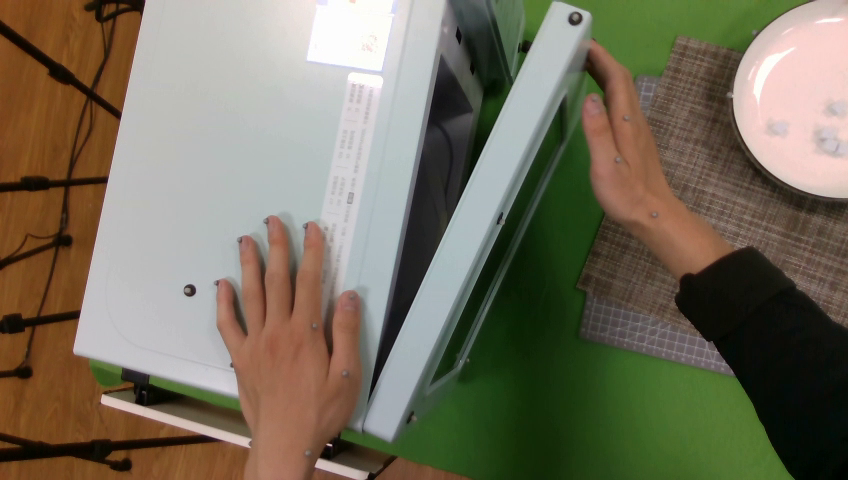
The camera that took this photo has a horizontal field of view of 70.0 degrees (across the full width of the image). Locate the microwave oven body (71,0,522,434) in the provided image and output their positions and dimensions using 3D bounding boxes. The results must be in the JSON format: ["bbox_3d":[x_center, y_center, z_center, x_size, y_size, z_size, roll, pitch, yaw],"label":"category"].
[{"bbox_3d":[-0.107,-0.080,0.614,0.325,0.261,0.441,11,89,13],"label":"microwave oven body"}]

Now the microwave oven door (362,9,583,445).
[{"bbox_3d":[0.058,0.000,0.567,0.039,0.245,0.355,25,92,14],"label":"microwave oven door"}]

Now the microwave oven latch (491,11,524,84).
[{"bbox_3d":[0.092,-0.218,0.677,0.030,0.029,0.079,12,90,13],"label":"microwave oven latch"}]

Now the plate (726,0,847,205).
[{"bbox_3d":[0.416,-0.135,0.613,0.208,0.038,0.208,-1,85,12],"label":"plate"}]
